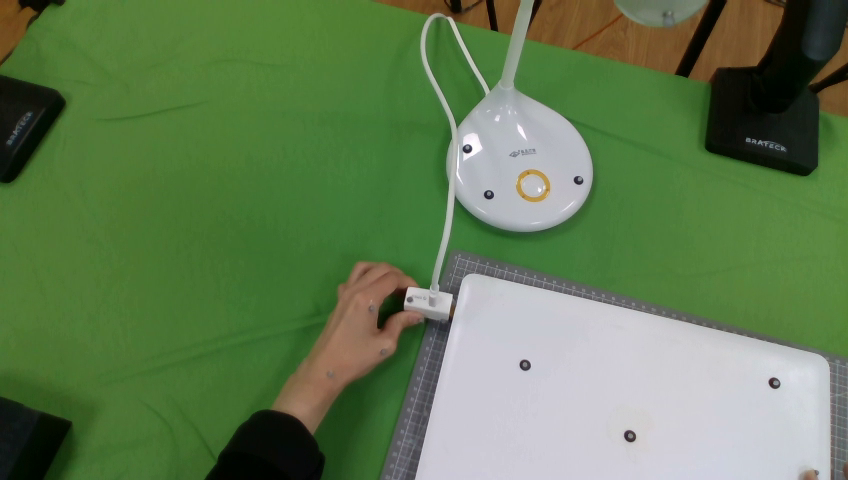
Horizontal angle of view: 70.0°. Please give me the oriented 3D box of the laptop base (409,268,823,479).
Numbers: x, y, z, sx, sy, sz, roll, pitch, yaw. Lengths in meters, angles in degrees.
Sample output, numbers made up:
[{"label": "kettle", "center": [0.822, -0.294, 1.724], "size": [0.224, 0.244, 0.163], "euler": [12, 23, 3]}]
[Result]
[{"label": "laptop base", "center": [0.178, 0.171, 0.550], "size": [0.354, 0.023, 0.234], "euler": [13, 70, 4]}]

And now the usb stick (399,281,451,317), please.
[{"label": "usb stick", "center": [0.007, 0.058, 0.580], "size": [0.059, 0.027, 0.021], "euler": [12, 61, 0]}]

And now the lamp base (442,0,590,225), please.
[{"label": "lamp base", "center": [0.096, -0.131, 0.593], "size": [0.161, 0.181, 0.177], "euler": [-21, 65, -11]}]

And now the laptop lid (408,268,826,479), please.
[{"label": "laptop lid", "center": [0.177, 0.169, 0.538], "size": [0.356, 0.013, 0.240], "euler": [14, 69, 5]}]
